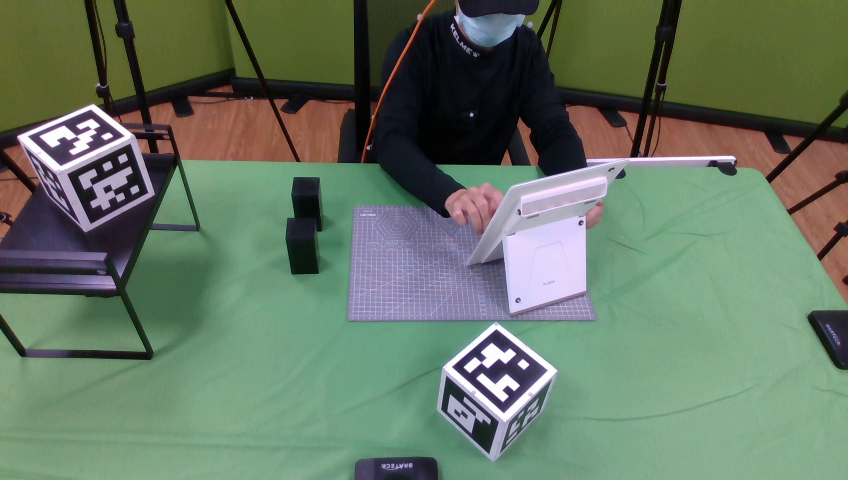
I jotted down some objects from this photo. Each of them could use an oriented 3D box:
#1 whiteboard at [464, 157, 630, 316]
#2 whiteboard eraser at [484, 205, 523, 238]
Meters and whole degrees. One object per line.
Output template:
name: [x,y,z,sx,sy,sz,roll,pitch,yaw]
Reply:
whiteboard: [0.224,0.015,1.042,0.217,0.306,0.143,-13,68,-17]
whiteboard eraser: [0.139,-0.034,1.064,0.041,0.101,0.018,-10,70,-25]
